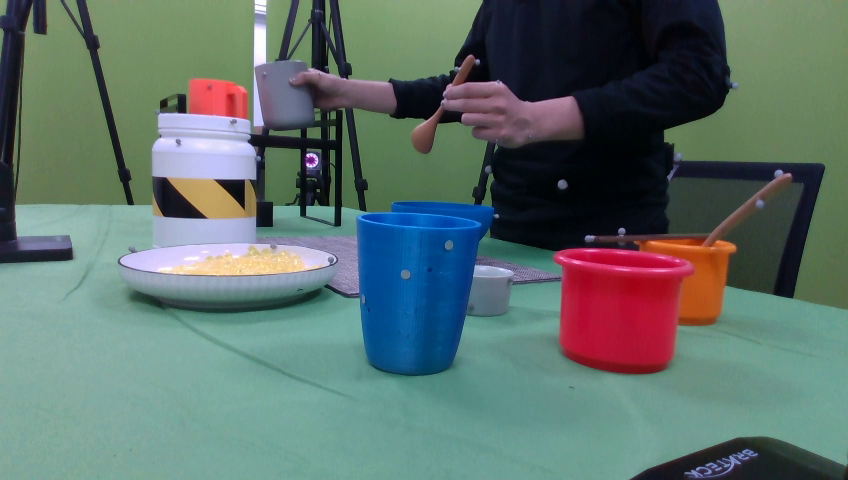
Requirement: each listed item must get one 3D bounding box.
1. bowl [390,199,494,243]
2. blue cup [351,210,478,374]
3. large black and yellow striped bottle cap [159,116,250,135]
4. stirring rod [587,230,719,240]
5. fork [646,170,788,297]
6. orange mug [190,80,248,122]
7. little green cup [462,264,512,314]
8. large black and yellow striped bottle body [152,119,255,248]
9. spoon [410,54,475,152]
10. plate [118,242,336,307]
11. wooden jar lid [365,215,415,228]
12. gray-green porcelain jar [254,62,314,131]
[{"bbox_3d":[0.024,-0.015,0.872,0.151,0.077,0.151,3,7,0],"label":"bowl"},{"bbox_3d":[-0.009,0.034,0.414,0.093,0.100,0.092,4,8,0],"label":"blue cup"},{"bbox_3d":[-0.292,-0.153,0.810,0.115,0.019,0.115,3,8,0],"label":"large black and yellow striped bottle cap"},{"bbox_3d":[0.226,-0.005,0.587,0.177,0.006,0.014,-2,10,-29],"label":"stirring rod"},{"bbox_3d":[0.256,0.004,0.543,0.028,0.018,0.207,3,-36,-9],"label":"fork"},{"bbox_3d":[-0.394,-0.257,1.173,0.126,0.100,0.084,1,6,25],"label":"orange mug"},{"bbox_3d":[0.053,0.047,0.580,0.061,0.038,0.061,3,8,0],"label":"little green cup"},{"bbox_3d":[-0.296,-0.070,0.819,0.131,0.184,0.130,2,7,0],"label":"large black and yellow striped bottle body"},{"bbox_3d":[0.025,-0.193,0.864,0.041,0.193,0.022,46,46,9],"label":"spoon"},{"bbox_3d":[-0.194,0.033,0.615,0.209,0.038,0.209,2,7,0],"label":"plate"},{"bbox_3d":[-0.073,-0.040,1.291,0.108,0.020,0.108,3,7,0],"label":"wooden jar lid"},{"bbox_3d":[-0.281,-0.288,1.227,0.106,0.126,0.106,-7,9,1],"label":"gray-green porcelain jar"}]
